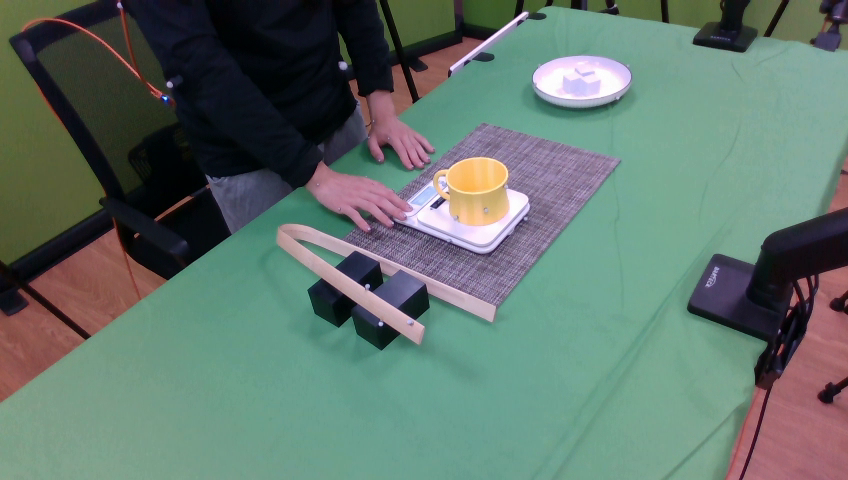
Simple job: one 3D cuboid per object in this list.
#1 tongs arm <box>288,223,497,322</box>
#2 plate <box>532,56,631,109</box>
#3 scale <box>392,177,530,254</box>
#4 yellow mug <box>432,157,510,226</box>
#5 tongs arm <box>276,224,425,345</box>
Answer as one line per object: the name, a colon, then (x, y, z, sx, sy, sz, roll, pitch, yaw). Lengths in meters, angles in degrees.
tongs arm: (-0.060, 0.043, 0.918, 0.384, 0.028, 0.028, 21, 24, 28)
plate: (0.336, -0.335, 1.301, 0.207, 0.039, 0.206, -4, 41, 4)
scale: (0.060, -0.050, 1.006, 0.199, 0.032, 0.149, 22, 48, 30)
yellow mug: (0.072, -0.082, 0.968, 0.130, 0.064, 0.100, 13, 45, 24)
tongs arm: (-0.114, 0.050, 0.856, 0.051, 0.026, 0.381, -7, 24, -43)
